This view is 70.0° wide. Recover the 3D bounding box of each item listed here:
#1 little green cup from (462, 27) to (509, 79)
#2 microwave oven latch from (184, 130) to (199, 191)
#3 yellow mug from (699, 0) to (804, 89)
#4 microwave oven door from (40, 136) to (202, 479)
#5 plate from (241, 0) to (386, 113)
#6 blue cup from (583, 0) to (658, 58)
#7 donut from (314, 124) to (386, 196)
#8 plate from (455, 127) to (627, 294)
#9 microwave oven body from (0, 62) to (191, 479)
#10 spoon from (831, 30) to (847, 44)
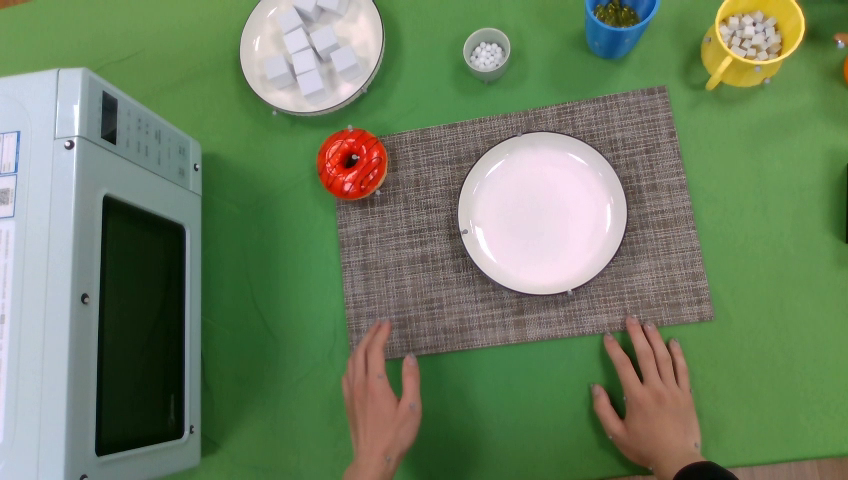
[{"bbox_3d":[0.083,-0.247,0.806,0.061,0.039,0.061,-2,79,9],"label":"little green cup"},{"bbox_3d":[-0.325,-0.107,0.828,0.030,0.029,0.079,-3,80,8],"label":"microwave oven latch"},{"bbox_3d":[0.387,-0.238,0.740,0.099,0.064,0.131,40,90,14],"label":"yellow mug"},{"bbox_3d":[-0.330,0.089,0.691,0.039,0.245,0.354,-6,79,9],"label":"microwave oven door"},{"bbox_3d":[-0.152,-0.272,0.848,0.207,0.039,0.207,-2,80,9],"label":"plate"},{"bbox_3d":[0.237,-0.276,0.753,0.092,0.100,0.092,-1,81,9],"label":"blue cup"},{"bbox_3d":[-0.098,-0.106,0.803,0.099,0.048,0.098,-2,81,11],"label":"donut"},{"bbox_3d":[0.143,-0.035,0.755,0.209,0.038,0.208,-2,80,9],"label":"plate"},{"bbox_3d":[-0.476,0.062,0.724,0.325,0.261,0.440,-5,80,8],"label":"microwave oven body"},{"bbox_3d":[0.502,-0.214,0.675,0.021,0.195,0.041,-23,71,50],"label":"spoon"}]
